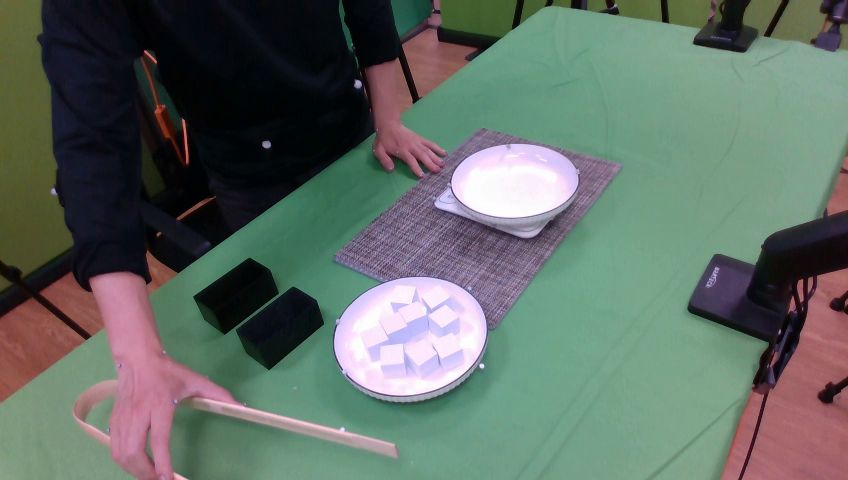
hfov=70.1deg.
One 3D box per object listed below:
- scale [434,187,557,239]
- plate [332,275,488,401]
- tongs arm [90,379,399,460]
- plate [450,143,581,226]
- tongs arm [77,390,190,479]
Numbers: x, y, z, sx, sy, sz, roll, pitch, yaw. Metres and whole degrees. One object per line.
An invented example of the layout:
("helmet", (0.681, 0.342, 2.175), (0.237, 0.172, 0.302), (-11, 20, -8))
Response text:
("scale", (0.132, -0.075, 1.025), (0.199, 0.032, 0.149), (22, 48, 30))
("plate", (-0.017, 0.131, 0.808), (0.207, 0.039, 0.206), (-4, 41, 4))
("tongs arm", (-0.210, 0.201, 0.681), (0.386, 0.028, 0.028), (6, 45, 17))
("plate", (0.148, -0.087, 0.986), (0.209, 0.038, 0.208), (-4, 41, 4))
("tongs arm", (-0.238, 0.240, 0.635), (0.382, 0.026, 0.051), (12, 43, 24))
